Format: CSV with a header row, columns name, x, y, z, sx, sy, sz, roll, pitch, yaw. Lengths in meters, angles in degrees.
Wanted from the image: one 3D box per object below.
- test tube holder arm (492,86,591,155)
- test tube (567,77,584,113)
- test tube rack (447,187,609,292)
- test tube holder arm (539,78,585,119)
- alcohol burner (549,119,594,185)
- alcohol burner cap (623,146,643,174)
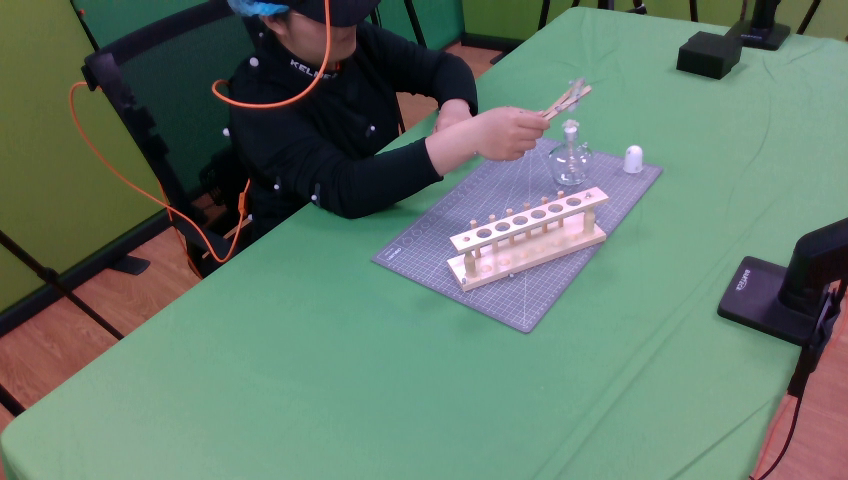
name,x,y,z,sx,sy,sz,roll,pitch,yaw
test tube holder arm,0.184,-0.188,0.957,0.178,0.015,0.013,-34,83,14
test tube,0.240,-0.227,0.960,0.017,0.150,0.017,-1,86,10
test tube rack,0.155,-0.011,0.913,0.243,0.085,0.066,-19,40,-11
test tube holder arm,0.216,-0.218,0.947,0.087,0.015,0.010,-43,82,13
alcohol burner,0.254,-0.155,1.043,0.078,0.120,0.077,-7,40,6
alcohol burner cap,0.369,-0.142,1.062,0.034,0.048,0.033,-7,41,6
